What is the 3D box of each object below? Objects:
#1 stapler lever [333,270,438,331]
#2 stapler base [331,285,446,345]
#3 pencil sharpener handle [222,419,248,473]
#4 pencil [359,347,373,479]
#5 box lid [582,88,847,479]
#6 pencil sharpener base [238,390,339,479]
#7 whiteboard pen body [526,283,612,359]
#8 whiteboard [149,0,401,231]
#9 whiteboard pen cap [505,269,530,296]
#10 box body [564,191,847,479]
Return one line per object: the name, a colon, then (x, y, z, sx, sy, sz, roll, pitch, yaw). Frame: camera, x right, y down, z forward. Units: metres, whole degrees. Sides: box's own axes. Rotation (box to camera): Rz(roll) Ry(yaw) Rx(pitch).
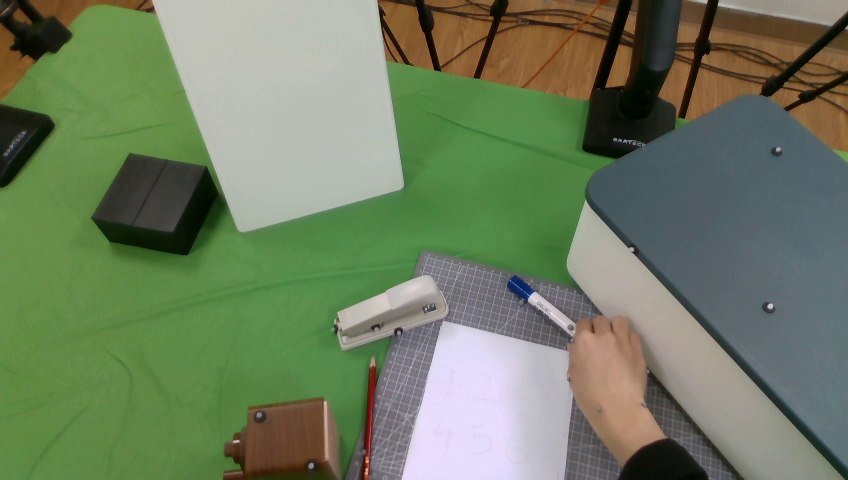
stapler lever: (-0.042, 0.065, 0.662, 0.118, 0.040, 0.026, -18, 56, -9)
stapler base: (-0.040, 0.077, 0.684, 0.131, 0.024, 0.041, -18, 56, -8)
pencil sharpener handle: (-0.173, 0.191, 0.547, 0.031, 0.068, 0.035, -6, 42, -4)
pencil: (-0.059, 0.199, 0.616, 0.012, 0.012, 0.192, 1, 58, -1)
box lid: (0.352, 0.012, 0.567, 0.263, 0.015, 0.368, -28, 64, -18)
pencil sharpener base: (-0.123, 0.189, 0.565, 0.077, 0.108, 0.061, -6, 59, -4)
whiteboard pen body: (0.152, 0.084, 0.683, 0.017, 0.017, 0.139, -39, 66, -23)
whiteboard: (-0.167, -0.199, 0.723, 0.217, 0.308, 0.142, -16, 41, -11)
whiteboard pen cap: (0.111, 0.050, 0.706, 0.018, 0.018, 0.033, -39, 65, -23)
box body: (0.352, 0.053, 0.629, 0.254, 0.161, 0.360, -28, 63, -18)
